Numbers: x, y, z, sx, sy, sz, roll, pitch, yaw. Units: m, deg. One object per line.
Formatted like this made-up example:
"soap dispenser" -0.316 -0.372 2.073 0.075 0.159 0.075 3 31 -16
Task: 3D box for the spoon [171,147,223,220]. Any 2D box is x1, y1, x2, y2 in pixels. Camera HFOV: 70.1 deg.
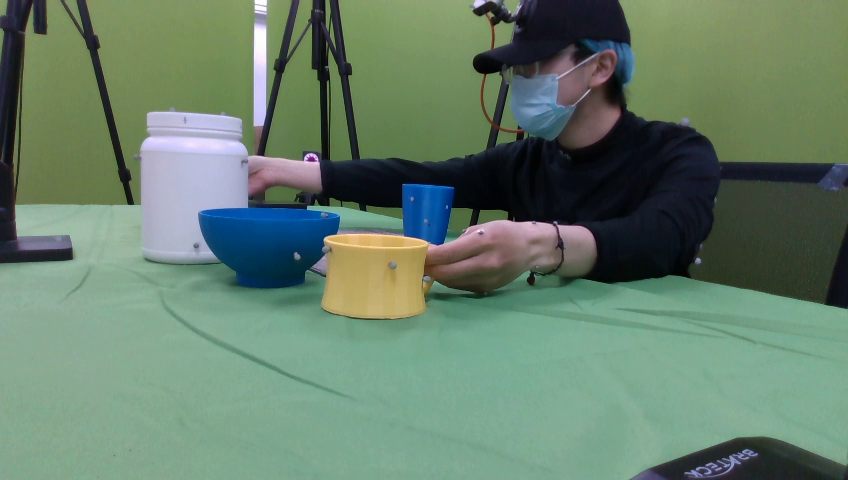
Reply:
"spoon" -0.439 -0.113 1.187 0.041 0.193 0.022 4 -31 22

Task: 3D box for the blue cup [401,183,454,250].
"blue cup" 0.003 -0.038 0.966 0.093 0.100 0.092 4 8 0

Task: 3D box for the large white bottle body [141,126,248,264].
"large white bottle body" -0.300 -0.068 0.797 0.131 0.184 0.130 2 7 0

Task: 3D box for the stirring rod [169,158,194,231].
"stirring rod" -0.424 -0.082 1.060 0.014 0.006 0.175 2 50 -10

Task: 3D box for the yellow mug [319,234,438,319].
"yellow mug" -0.036 0.031 0.581 0.131 0.064 0.099 -2 8 -43

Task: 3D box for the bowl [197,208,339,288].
"bowl" -0.171 0.008 0.671 0.151 0.077 0.151 2 7 0

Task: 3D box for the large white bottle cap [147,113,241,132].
"large white bottle cap" -0.297 -0.151 0.786 0.115 0.018 0.115 2 7 0
